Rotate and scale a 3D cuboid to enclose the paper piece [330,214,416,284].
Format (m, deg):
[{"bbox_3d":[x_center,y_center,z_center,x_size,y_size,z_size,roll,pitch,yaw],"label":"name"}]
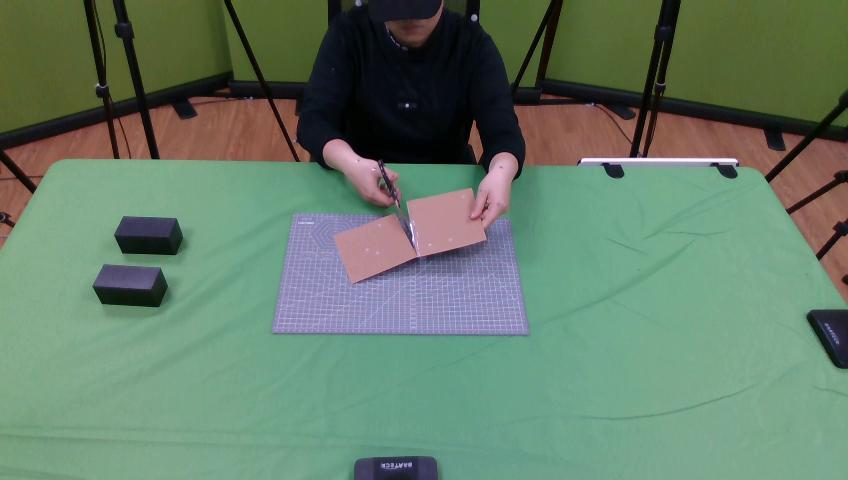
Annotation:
[{"bbox_3d":[-0.100,0.013,1.166,0.135,0.004,0.135,-21,49,-9],"label":"paper piece"}]

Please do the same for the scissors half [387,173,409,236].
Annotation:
[{"bbox_3d":[-0.057,-0.076,1.226,0.013,0.040,0.174,-22,57,0],"label":"scissors half"}]

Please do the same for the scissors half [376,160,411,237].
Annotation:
[{"bbox_3d":[-0.060,-0.083,1.206,0.013,0.040,0.174,-24,78,4],"label":"scissors half"}]

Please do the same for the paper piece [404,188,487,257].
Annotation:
[{"bbox_3d":[0.039,-0.036,1.167,0.138,0.009,0.135,-12,59,0],"label":"paper piece"}]
